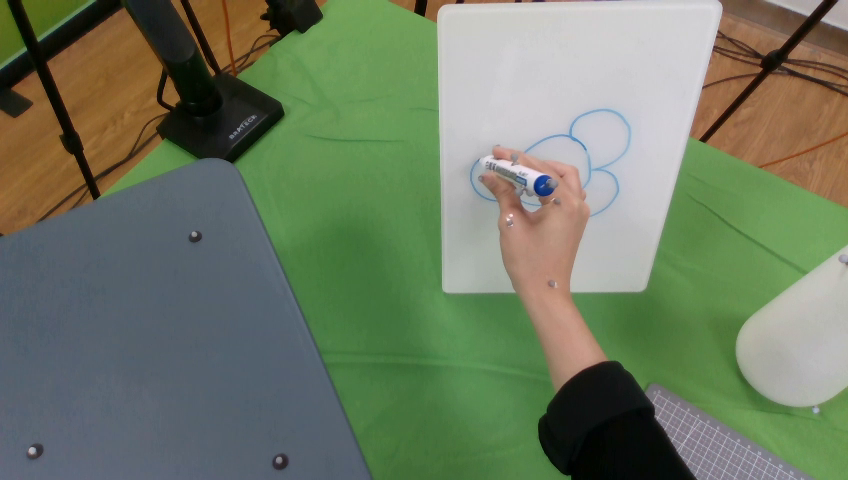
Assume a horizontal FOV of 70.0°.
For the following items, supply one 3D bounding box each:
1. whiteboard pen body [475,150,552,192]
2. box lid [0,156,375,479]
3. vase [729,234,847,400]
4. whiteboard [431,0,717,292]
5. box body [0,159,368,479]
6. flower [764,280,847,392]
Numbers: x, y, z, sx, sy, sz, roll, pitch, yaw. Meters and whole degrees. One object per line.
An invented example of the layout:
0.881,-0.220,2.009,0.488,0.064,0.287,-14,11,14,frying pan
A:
0.064,-0.058,0.476,0.017,0.017,0.139,-19,19,-9,whiteboard pen body
-0.215,0.105,0.446,0.263,0.015,0.368,-24,62,-13,box lid
0.342,0.066,0.520,0.098,0.202,0.097,-1,58,2,vase
0.120,-0.108,0.601,0.217,0.308,0.142,0,40,2,whiteboard
-0.212,0.144,0.509,0.254,0.162,0.360,-25,62,-12,box body
0.342,0.010,0.456,0.044,0.365,0.038,24,46,19,flower
